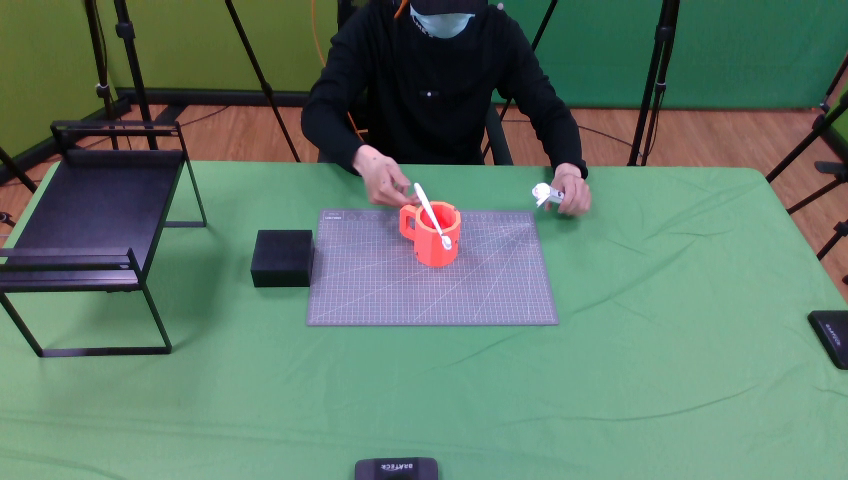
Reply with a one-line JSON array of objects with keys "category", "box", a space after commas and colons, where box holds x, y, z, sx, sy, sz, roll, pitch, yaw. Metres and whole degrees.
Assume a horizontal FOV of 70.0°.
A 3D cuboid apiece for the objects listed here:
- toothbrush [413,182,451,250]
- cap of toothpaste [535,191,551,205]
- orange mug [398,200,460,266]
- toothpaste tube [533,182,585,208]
[{"category": "toothbrush", "box": [0.013, -0.050, 1.118, 0.014, 0.017, 0.180, -15, 49, -13]}, {"category": "cap of toothpaste", "box": [0.224, -0.081, 1.147, 0.011, 0.037, 0.037, 49, 56, 1]}, {"category": "orange mug", "box": [0.007, -0.020, 1.161, 0.126, 0.101, 0.083, 27, 51, 14]}, {"category": "toothpaste tube", "box": [0.270, -0.088, 1.223, 0.166, 0.034, 0.054, 10, 23, -49]}]
